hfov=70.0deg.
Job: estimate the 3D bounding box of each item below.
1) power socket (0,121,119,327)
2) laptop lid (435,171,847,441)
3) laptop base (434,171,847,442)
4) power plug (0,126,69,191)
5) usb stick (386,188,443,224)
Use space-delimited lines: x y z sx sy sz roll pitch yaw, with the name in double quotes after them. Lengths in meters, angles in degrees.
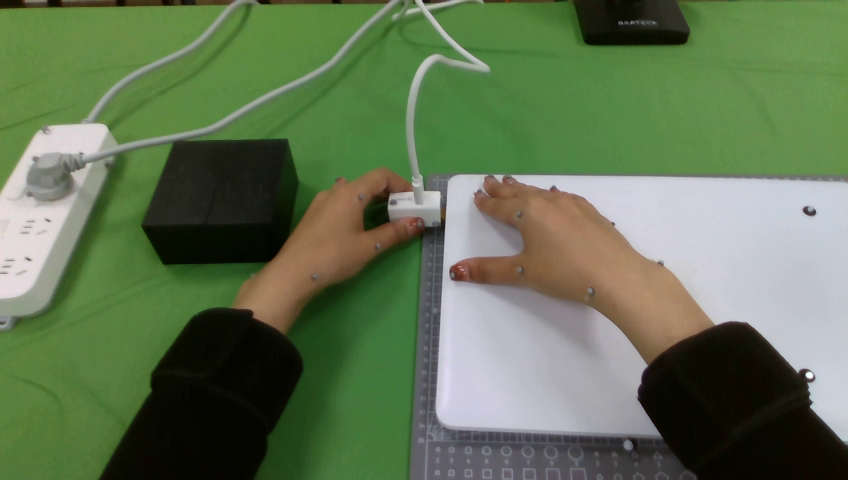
-0.334 -0.027 0.531 0.072 0.033 0.224 -1 50 -1 "power socket"
0.188 0.034 0.459 0.356 0.013 0.239 2 53 4 "laptop lid"
0.188 0.040 0.470 0.354 0.023 0.233 1 54 3 "laptop base"
-0.325 -0.074 0.504 0.053 0.073 0.035 11 32 -21 "power plug"
-0.002 -0.029 0.517 0.059 0.027 0.021 2 48 0 "usb stick"
